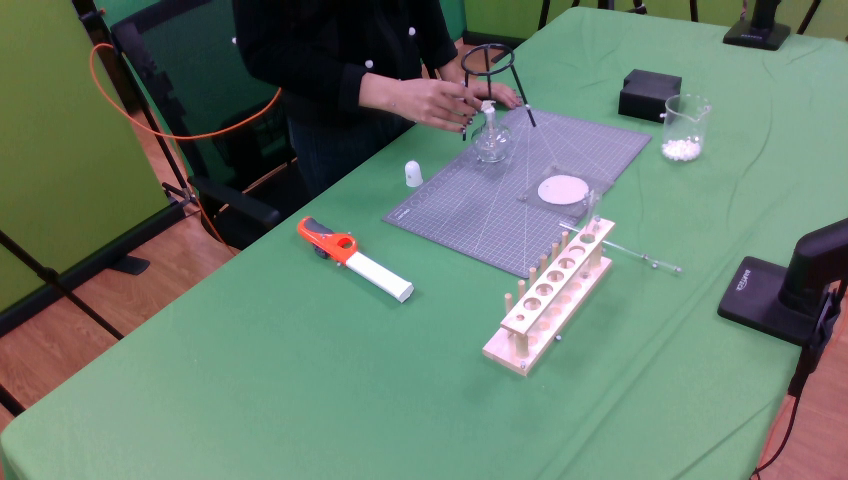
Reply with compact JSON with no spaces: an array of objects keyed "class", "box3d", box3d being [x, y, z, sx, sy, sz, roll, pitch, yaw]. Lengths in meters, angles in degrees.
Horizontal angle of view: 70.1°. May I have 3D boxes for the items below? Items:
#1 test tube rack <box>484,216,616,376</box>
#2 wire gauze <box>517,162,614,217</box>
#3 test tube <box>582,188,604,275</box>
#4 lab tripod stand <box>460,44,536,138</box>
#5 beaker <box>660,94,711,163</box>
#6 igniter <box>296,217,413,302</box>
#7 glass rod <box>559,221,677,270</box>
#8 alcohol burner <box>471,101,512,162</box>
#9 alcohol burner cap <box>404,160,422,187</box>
[{"class":"test tube rack","box3d":[0.174,0.064,0.823,0.066,0.085,0.243,23,49,32]},{"class":"wire gauze","box3d":[0.245,-0.088,1.046,0.120,0.011,0.125,25,50,32]},{"class":"test tube","box3d":[0.229,-0.007,0.821,0.017,0.151,0.017,-3,42,3]},{"class":"lab tripod stand","box3d":[0.120,-0.260,1.049,0.148,0.132,0.147,-6,46,7]},{"class":"beaker","box3d":[0.457,-0.192,1.063,0.074,0.101,0.083,-7,41,4]},{"class":"igniter","box3d":[-0.121,0.025,0.970,0.274,0.025,0.057,29,63,37]},{"class":"glass rod","box3d":[0.292,0.007,0.927,0.198,0.008,0.008,26,52,36]},{"class":"alcohol burner","box3d":[0.125,-0.207,1.126,0.078,0.119,0.077,-5,43,5]},{"class":"alcohol burner cap","box3d":[-0.022,-0.125,1.118,0.034,0.048,0.033,-4,41,4]}]
